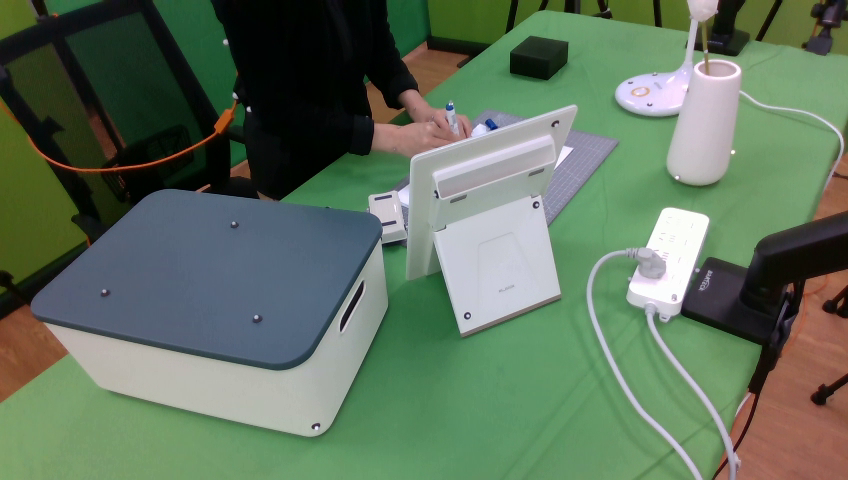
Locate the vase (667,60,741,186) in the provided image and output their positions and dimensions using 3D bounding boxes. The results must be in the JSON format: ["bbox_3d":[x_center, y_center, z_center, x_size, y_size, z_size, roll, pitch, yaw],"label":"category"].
[{"bbox_3d":[0.463,-0.189,0.994,0.098,0.201,0.097,-4,40,4],"label":"vase"}]

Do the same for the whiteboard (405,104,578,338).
[{"bbox_3d":[0.102,0.002,0.787,0.218,0.306,0.143,-19,62,-14],"label":"whiteboard"}]

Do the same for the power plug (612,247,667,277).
[{"bbox_3d":[0.306,0.031,0.852,0.072,0.053,0.035,21,48,37],"label":"power plug"}]

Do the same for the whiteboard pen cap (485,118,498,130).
[{"bbox_3d":[0.138,-0.232,1.229,0.018,0.018,0.033,-16,43,-11],"label":"whiteboard pen cap"}]

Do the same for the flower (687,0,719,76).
[{"bbox_3d":[0.436,-0.242,0.934,0.038,0.364,0.043,-24,49,9],"label":"flower"}]

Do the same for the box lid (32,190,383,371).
[{"bbox_3d":[-0.257,0.032,0.750,0.370,0.015,0.263,7,42,16],"label":"box lid"}]

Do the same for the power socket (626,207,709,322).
[{"bbox_3d":[0.360,0.026,0.886,0.072,0.033,0.227,16,46,27],"label":"power socket"}]

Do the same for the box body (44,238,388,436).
[{"bbox_3d":[-0.251,0.088,0.799,0.362,0.161,0.254,7,42,16],"label":"box body"}]

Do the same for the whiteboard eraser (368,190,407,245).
[{"bbox_3d":[-0.061,-0.035,1.006,0.056,0.042,0.112,-9,40,-3],"label":"whiteboard eraser"}]

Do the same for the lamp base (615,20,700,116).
[{"bbox_3d":[0.484,-0.364,1.211,0.180,0.181,0.159,-15,41,-14],"label":"lamp base"}]

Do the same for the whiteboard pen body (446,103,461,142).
[{"bbox_3d":[0.057,-0.192,1.099,0.017,0.141,0.017,-6,53,8],"label":"whiteboard pen body"}]
